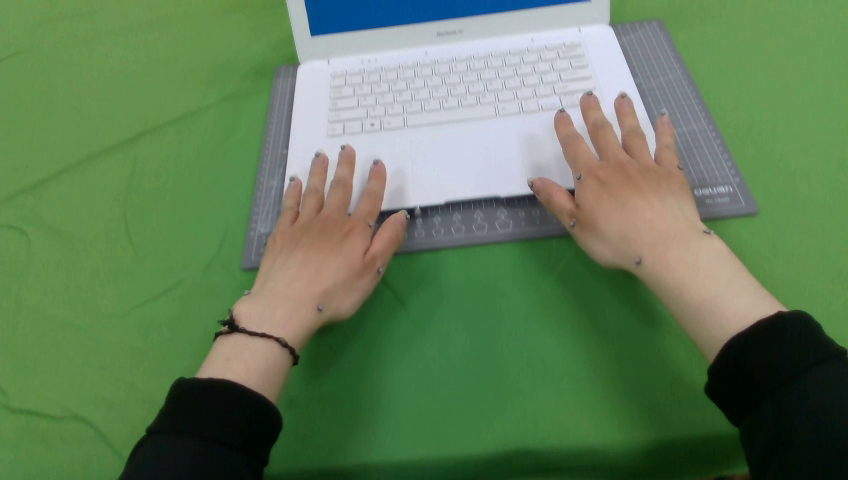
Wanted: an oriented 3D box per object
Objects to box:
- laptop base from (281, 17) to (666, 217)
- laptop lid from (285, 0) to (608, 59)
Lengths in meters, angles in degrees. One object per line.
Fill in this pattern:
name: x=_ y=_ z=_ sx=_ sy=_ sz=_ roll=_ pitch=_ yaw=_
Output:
laptop base: x=0.037 y=-0.129 z=0.616 sx=0.354 sy=0.023 sz=0.233 roll=-6 pitch=56 yaw=3
laptop lid: x=0.016 y=-0.326 z=0.637 sx=0.356 sy=0.243 sz=0.013 roll=-8 pitch=25 yaw=3
